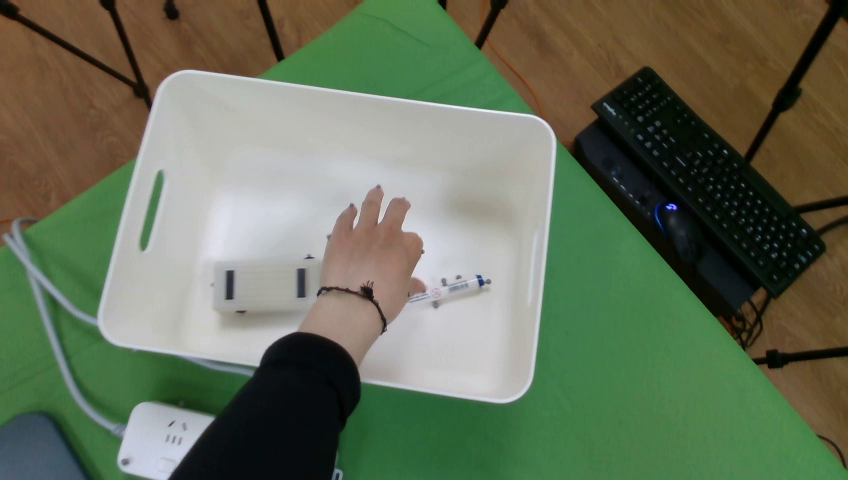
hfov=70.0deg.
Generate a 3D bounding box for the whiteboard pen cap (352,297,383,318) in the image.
[{"bbox_3d":[-0.059,0.070,0.644,0.033,0.018,0.018,-16,76,-2],"label":"whiteboard pen cap"}]

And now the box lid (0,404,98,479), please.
[{"bbox_3d":[-0.464,0.364,0.584,0.371,0.015,0.262,-36,78,-8],"label":"box lid"}]

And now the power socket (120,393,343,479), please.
[{"bbox_3d":[-0.194,0.211,0.610,0.226,0.033,0.072,12,76,4],"label":"power socket"}]

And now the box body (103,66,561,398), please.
[{"bbox_3d":[-0.071,0.004,0.594,0.364,0.161,0.253,8,76,3],"label":"box body"}]

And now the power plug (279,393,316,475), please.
[{"bbox_3d":[-0.115,0.192,0.590,0.035,0.053,0.072,22,72,8],"label":"power plug"}]

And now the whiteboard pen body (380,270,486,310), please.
[{"bbox_3d":[-0.003,0.056,0.646,0.141,0.017,0.017,-15,76,-1],"label":"whiteboard pen body"}]

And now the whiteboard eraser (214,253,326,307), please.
[{"bbox_3d":[-0.161,0.042,0.638,0.113,0.042,0.055,-1,76,-2],"label":"whiteboard eraser"}]
